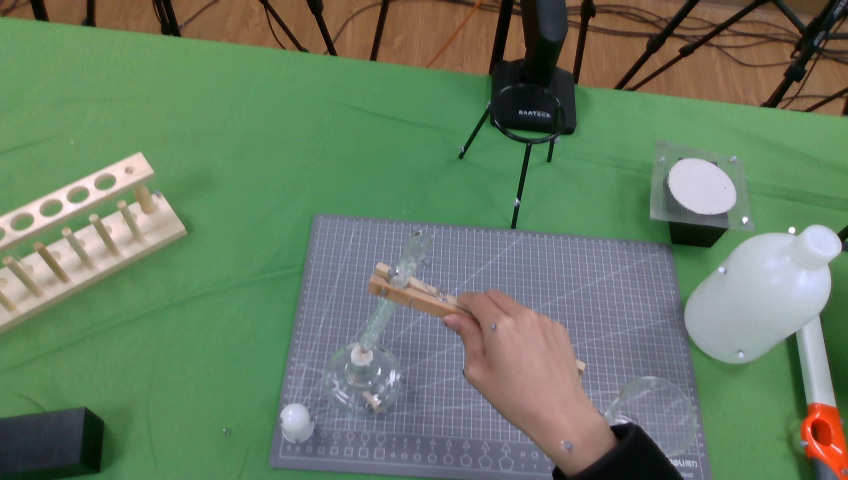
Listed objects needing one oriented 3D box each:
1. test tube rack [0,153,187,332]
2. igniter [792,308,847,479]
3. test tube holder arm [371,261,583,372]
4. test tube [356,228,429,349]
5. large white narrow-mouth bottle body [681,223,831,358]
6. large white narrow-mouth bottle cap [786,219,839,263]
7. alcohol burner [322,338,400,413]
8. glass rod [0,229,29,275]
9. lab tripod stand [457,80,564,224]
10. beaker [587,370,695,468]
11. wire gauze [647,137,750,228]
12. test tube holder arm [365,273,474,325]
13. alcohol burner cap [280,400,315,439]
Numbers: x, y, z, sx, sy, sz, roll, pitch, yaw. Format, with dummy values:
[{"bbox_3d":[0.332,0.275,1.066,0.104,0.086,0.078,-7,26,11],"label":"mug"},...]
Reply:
[{"bbox_3d":[-0.394,0.007,0.653,0.242,0.086,0.066,-32,67,-22],"label":"test tube rack"},{"bbox_3d":[0.430,0.185,0.659,0.057,0.025,0.274,16,58,-8],"label":"igniter"},{"bbox_3d":[0.040,0.059,0.474,0.178,0.015,0.013,24,46,4],"label":"test tube holder arm"},{"bbox_3d":[-0.028,0.044,0.485,0.017,0.151,0.017,14,45,-14],"label":"test tube"},{"bbox_3d":[0.354,0.046,0.636,0.102,0.196,0.101,2,59,-3],"label":"large white narrow-mouth bottle body"},{"bbox_3d":[0.360,0.001,0.563,0.038,0.024,0.037,2,59,-3],"label":"large white narrow-mouth bottle cap"},{"bbox_3d":[-0.061,0.127,0.594,0.078,0.120,0.077,4,58,-5],"label":"alcohol burner"},{"bbox_3d":[-0.428,-0.025,0.591,0.008,0.201,0.008,4,50,-4],"label":"glass rod"},{"bbox_3d":[0.114,-0.114,0.745,0.148,0.132,0.147,3,60,-5],"label":"lab tripod stand"},{"bbox_3d":[0.205,0.180,0.595,0.084,0.101,0.073,2,59,-3],"label":"beaker"},{"bbox_3d":[0.340,-0.072,0.757,0.121,0.011,0.124,11,59,2],"label":"wire gauze"},{"bbox_3d":[-0.003,0.046,0.472,0.088,0.015,0.010,18,45,-1],"label":"test tube holder arm"},{"bbox_3d":[-0.127,0.176,0.600,0.034,0.048,0.033,2,60,-3],"label":"alcohol burner cap"}]
